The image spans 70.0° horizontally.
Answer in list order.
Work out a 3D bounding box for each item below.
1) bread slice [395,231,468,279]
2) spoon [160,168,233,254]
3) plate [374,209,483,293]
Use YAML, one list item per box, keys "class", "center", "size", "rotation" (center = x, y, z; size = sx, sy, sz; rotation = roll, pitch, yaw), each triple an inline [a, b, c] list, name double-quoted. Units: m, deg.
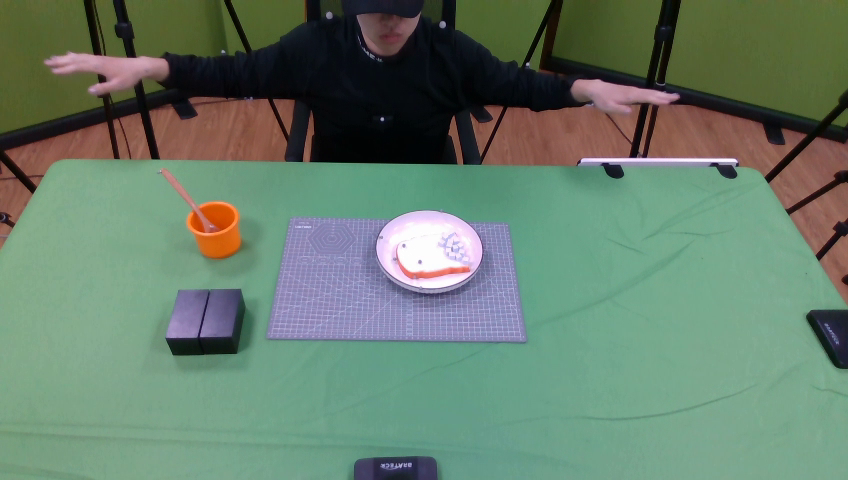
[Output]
- class: "bread slice"
  center: [0.011, 0.030, 1.158]
  size: [0.132, 0.019, 0.104]
  rotation: [-8, 47, -14]
- class: "spoon"
  center: [-0.424, -0.055, 1.130]
  size: [0.041, 0.194, 0.021]
  rotation: [-42, 18, -31]
- class: "plate"
  center: [0.009, 0.024, 1.160]
  size: [0.209, 0.038, 0.208]
  rotation: [2, 46, -2]
